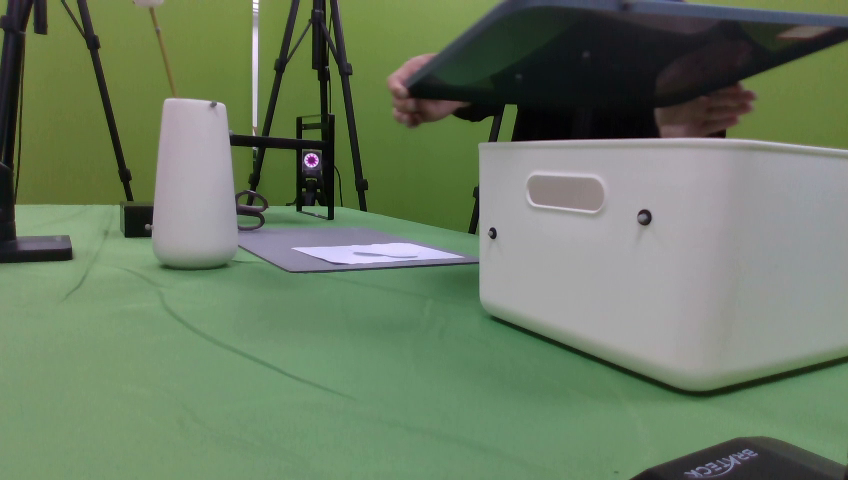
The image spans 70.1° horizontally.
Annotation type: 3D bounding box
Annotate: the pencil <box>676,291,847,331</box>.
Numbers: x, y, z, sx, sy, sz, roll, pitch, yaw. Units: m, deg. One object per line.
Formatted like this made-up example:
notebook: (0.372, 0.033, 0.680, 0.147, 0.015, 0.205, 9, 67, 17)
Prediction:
pencil: (0.331, 0.067, 0.609, 0.012, 0.012, 0.193, -1, 5, -26)

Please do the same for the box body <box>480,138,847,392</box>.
box body: (0.255, 0.001, 0.541, 0.366, 0.160, 0.253, -2, 9, -31)

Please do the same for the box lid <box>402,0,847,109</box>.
box lid: (0.182, -0.168, 0.591, 0.373, 0.015, 0.262, -3, -2, -21)

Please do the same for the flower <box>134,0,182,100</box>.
flower: (-0.282, -0.147, 0.713, 0.038, 0.362, 0.044, -23, 24, -31)

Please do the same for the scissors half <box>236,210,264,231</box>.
scissors half: (-0.369, -0.051, 1.065, 0.176, 0.040, 0.012, 19, 13, -27)

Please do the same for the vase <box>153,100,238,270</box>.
vase: (-0.278, -0.066, 0.736, 0.098, 0.200, 0.098, 2, 9, 0)

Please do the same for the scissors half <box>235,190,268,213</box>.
scissors half: (-0.363, -0.070, 1.060, 0.176, 0.040, 0.013, 0, 16, -23)

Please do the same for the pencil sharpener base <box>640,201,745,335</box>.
pencil sharpener base: (0.231, 0.022, 0.528, 0.061, 0.107, 0.077, 4, 8, 7)

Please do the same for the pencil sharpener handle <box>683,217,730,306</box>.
pencil sharpener handle: (0.224, 0.017, 0.476, 0.036, 0.067, 0.030, 7, 9, 6)
